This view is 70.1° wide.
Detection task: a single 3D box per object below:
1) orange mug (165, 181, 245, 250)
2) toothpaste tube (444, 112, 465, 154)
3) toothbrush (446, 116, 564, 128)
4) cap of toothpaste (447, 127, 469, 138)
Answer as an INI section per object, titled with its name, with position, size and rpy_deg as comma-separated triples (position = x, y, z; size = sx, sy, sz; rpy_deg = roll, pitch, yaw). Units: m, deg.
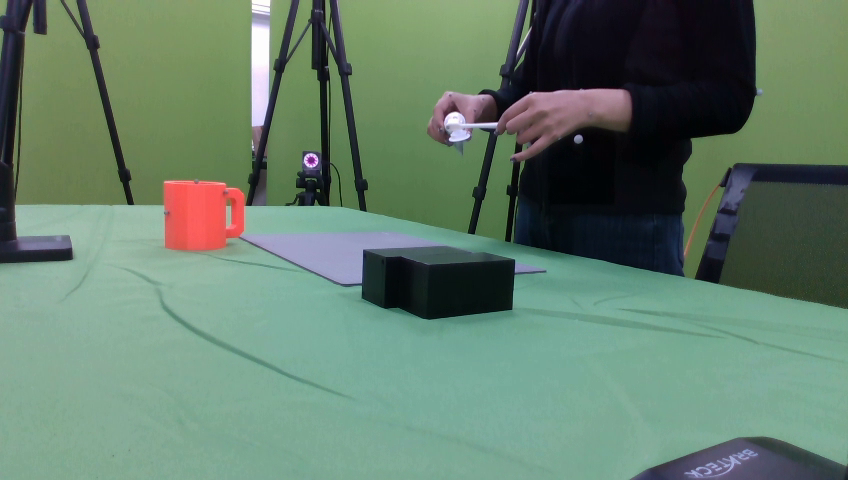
[orange mug]
position = -0.326, -0.040, 0.911
size = 0.083, 0.101, 0.127
rpy_deg = 8, 14, 37
[toothpaste tube]
position = 0.054, -0.186, 1.041
size = 0.034, 0.055, 0.165
rpy_deg = -31, -4, 1
[toothbrush]
position = 0.123, -0.181, 0.931
size = 0.181, 0.016, 0.014
rpy_deg = 4, -31, 14
[cap of toothpaste]
position = 0.053, -0.169, 0.953
size = 0.037, 0.011, 0.037
rpy_deg = -8, 23, 4
